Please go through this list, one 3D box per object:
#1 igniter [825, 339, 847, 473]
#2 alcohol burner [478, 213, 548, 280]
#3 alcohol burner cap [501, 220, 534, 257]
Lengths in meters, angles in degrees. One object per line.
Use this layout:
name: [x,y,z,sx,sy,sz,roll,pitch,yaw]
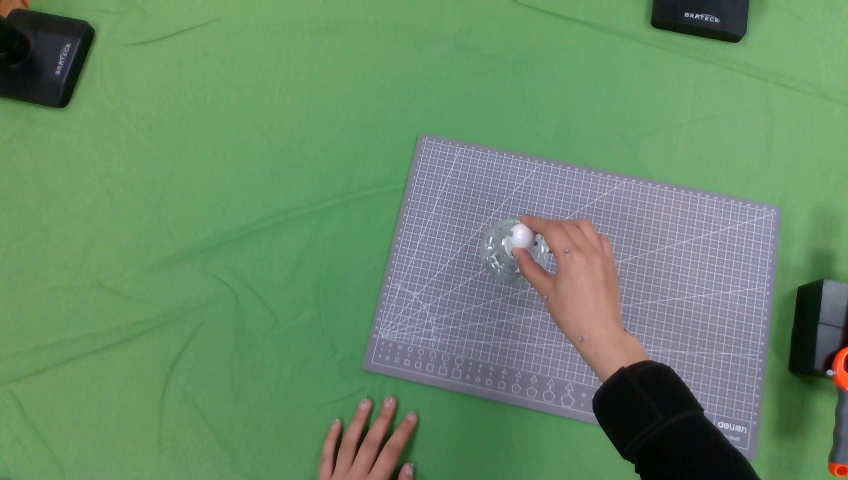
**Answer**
igniter: [0.465,0.110,0.641,0.057,0.025,0.275,16,76,7]
alcohol burner: [0.101,0.003,0.667,0.078,0.119,0.077,1,76,-2]
alcohol burner cap: [0.099,-0.003,0.632,0.034,0.048,0.033,0,73,-1]
